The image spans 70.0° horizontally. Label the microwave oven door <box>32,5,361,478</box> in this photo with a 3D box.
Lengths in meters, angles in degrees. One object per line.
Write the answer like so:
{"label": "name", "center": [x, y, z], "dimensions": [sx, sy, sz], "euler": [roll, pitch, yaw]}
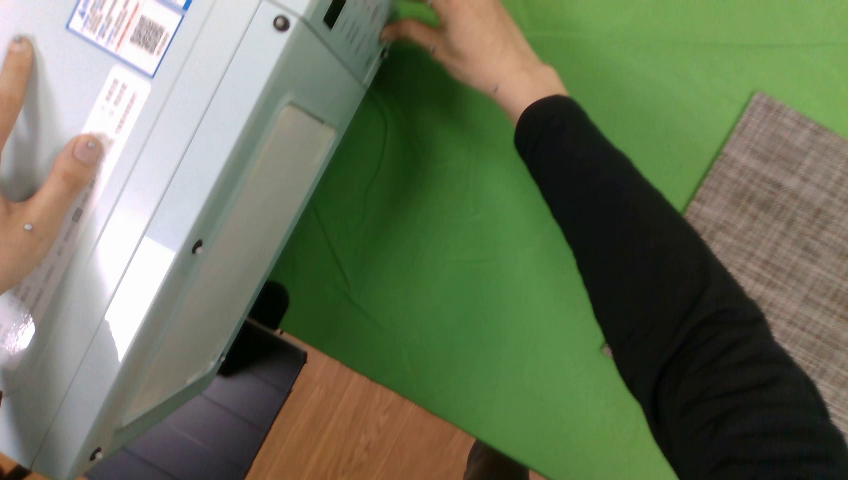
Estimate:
{"label": "microwave oven door", "center": [-0.170, -0.002, 0.513], "dimensions": [0.039, 0.243, 0.356], "euler": [29, 96, 2]}

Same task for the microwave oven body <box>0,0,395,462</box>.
{"label": "microwave oven body", "center": [-0.277, -0.111, 0.515], "dimensions": [0.326, 0.260, 0.442], "euler": [29, 97, 1]}

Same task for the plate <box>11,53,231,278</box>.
{"label": "plate", "center": [-0.281, -0.069, 0.577], "dimensions": [0.209, 0.038, 0.209], "euler": [0, 97, 4]}

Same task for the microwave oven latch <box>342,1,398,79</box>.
{"label": "microwave oven latch", "center": [-0.054, -0.199, 0.590], "dimensions": [0.030, 0.029, 0.079], "euler": [31, 97, 0]}
